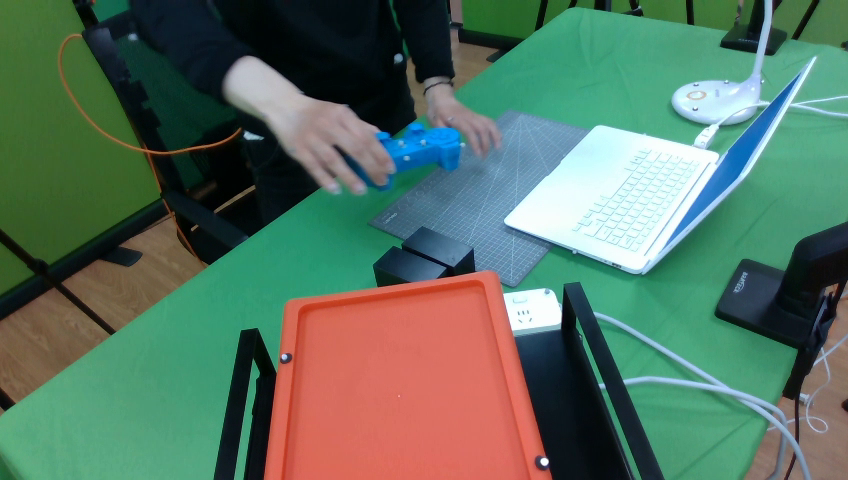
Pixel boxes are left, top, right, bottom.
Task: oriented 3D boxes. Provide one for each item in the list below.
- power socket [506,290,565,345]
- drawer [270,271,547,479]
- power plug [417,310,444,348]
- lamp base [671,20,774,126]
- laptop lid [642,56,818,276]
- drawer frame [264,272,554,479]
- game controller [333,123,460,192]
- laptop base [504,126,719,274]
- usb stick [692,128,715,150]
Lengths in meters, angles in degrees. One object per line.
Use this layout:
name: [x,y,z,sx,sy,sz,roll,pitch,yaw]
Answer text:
power socket: [0.081,0.112,0.822,0.227,0.033,0.072,-7,41,0]
drawer: [-0.018,0.132,0.499,0.195,0.073,0.210,-7,41,-1]
power plug: [0.007,0.123,0.784,0.035,0.053,0.072,-1,42,8]
lamp base: [0.581,-0.332,1.154,0.179,0.181,0.160,2,42,7]
laptop lid: [0.445,-0.108,0.876,0.013,0.241,0.357,39,53,12]
drawer frame: [-0.016,0.134,0.494,0.202,0.083,0.212,-8,41,-2]
game controller: [-0.029,-0.108,0.741,0.156,0.052,0.096,-19,36,-20]
laptop base: [0.326,-0.083,1.028,0.233,0.023,0.355,21,48,32]
usb stick: [0.501,-0.176,1.091,0.021,0.027,0.059,30,56,28]
